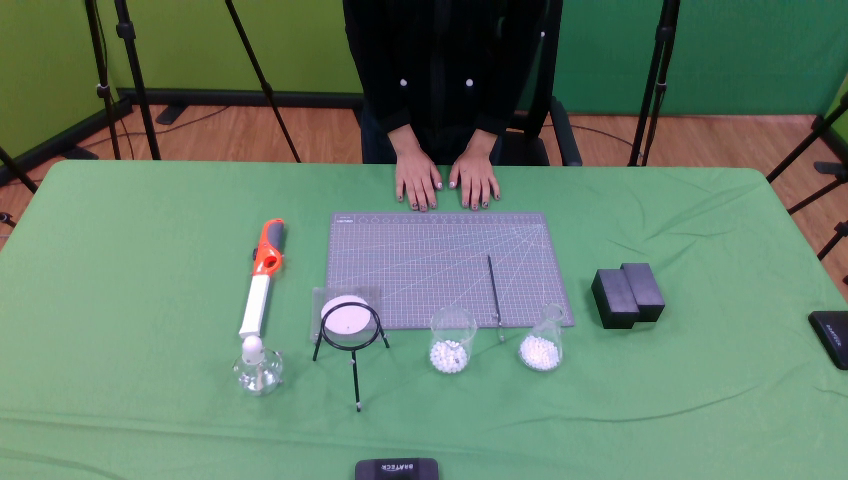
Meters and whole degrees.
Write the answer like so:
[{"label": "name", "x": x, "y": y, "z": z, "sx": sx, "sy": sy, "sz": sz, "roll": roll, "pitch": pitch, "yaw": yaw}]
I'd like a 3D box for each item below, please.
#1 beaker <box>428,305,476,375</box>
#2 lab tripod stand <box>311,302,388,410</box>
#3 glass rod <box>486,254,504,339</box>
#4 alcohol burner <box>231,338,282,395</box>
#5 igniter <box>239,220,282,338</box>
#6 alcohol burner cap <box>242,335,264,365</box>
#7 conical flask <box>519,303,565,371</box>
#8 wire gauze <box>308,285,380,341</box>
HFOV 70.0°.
[{"label": "beaker", "x": 0.043, "y": 0.169, "z": 0.987, "sx": 0.074, "sy": 0.101, "sz": 0.083, "roll": 1, "pitch": 47, "yaw": -3}, {"label": "lab tripod stand", "x": -0.113, "y": 0.168, "z": 0.951, "sx": 0.148, "sy": 0.132, "sz": 0.147, "roll": 2, "pitch": 44, "yaw": -2}, {"label": "glass rod", "x": 0.129, "y": 0.099, "z": 1.119, "sx": 0.008, "sy": 0.008, "sz": 0.198, "roll": -1, "pitch": 46, "yaw": -4}, {"label": "alcohol burner", "x": -0.260, "y": 0.186, "z": 0.935, "sx": 0.078, "sy": 0.119, "sz": 0.077, "roll": 3, "pitch": 44, "yaw": -3}, {"label": "igniter", "x": -0.298, "y": 0.061, "z": 1.113, "sx": 0.057, "sy": 0.025, "sz": 0.274, "roll": -5, "pitch": 46, "yaw": 4}, {"label": "alcohol burner cap", "x": -0.258, "y": 0.163, "z": 0.908, "sx": 0.034, "sy": 0.048, "sz": 0.033, "roll": 5, "pitch": 48, "yaw": -6}, {"label": "conical flask", "x": 0.201, "y": 0.155, "z": 0.997, "sx": 0.075, "sy": 0.122, "sz": 0.075, "roll": 2, "pitch": 46, "yaw": -2}, {"label": "wire gauze", "x": -0.141, "y": 0.128, "z": 1.071, "sx": 0.125, "sy": 0.011, "sz": 0.120, "roll": -1, "pitch": 46, "yaw": -5}]
